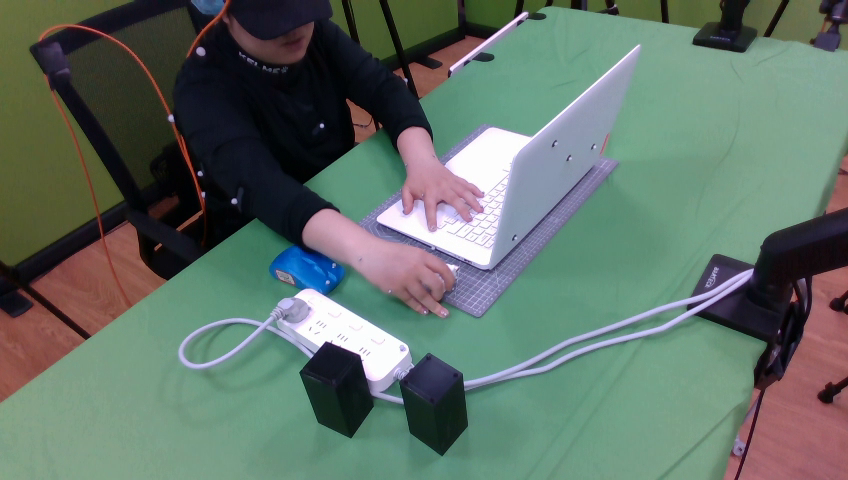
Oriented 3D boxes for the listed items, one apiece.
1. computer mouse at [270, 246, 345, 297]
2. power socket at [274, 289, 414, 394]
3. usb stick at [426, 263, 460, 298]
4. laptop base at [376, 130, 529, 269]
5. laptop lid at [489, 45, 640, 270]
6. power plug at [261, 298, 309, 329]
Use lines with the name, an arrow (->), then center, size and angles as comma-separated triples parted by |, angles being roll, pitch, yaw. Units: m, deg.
computer mouse -> -0.181, 0.046, 0.934 | 0.116, 0.041, 0.063 | 21, 43, 27
power socket -> -0.115, 0.133, 0.820 | 0.225, 0.033, 0.072 | 25, 49, 32
usb stick -> 0.030, 0.055, 0.882 | 0.021, 0.027, 0.059 | 27, 60, 33
laptop base -> 0.115, -0.086, 1.056 | 0.233, 0.023, 0.355 | 20, 47, 35
laptop lid -> 0.214, -0.125, 0.907 | 0.013, 0.242, 0.358 | 33, 52, 23
power plug -> -0.192, 0.108, 0.830 | 0.073, 0.053, 0.035 | -33, 43, -25
